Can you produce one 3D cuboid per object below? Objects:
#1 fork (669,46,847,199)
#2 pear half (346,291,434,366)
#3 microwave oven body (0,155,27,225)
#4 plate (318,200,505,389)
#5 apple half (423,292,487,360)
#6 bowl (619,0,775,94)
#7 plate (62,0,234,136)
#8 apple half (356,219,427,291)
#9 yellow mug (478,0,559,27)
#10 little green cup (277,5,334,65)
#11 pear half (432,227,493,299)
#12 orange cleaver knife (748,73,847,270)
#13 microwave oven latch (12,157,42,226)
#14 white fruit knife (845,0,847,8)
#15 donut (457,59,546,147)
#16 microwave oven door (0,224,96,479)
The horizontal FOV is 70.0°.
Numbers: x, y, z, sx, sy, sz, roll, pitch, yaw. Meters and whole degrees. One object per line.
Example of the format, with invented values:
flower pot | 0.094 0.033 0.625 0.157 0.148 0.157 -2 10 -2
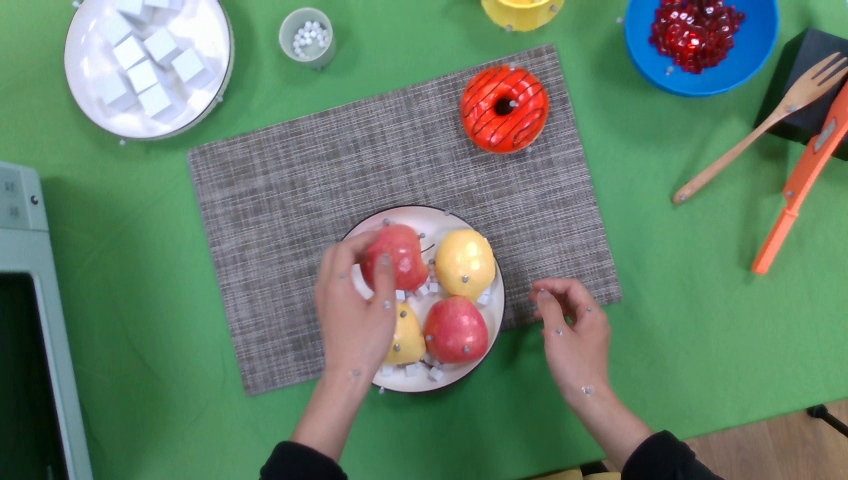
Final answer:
fork | 0.339 -0.115 0.630 0.028 0.018 0.207 43 113 -3
pear half | -0.032 0.106 0.668 0.110 0.056 0.076 35 97 2
microwave oven body | -0.592 0.145 0.623 0.326 0.260 0.441 -12 88 5
plate | -0.013 0.060 0.681 0.209 0.038 0.209 0 88 5
apple half | 0.026 0.096 0.659 0.081 0.033 0.081 4 98 28
bowl | 0.277 -0.222 0.643 0.151 0.077 0.151 0 89 6
plate | -0.322 -0.224 0.721 0.207 0.039 0.207 0 88 6
apple half | -0.038 0.018 0.667 0.074 0.053 0.081 -10 92 6
yellow mug | 0.090 -0.294 0.669 0.131 0.064 0.100 -4 88 6
little green cup | -0.135 -0.235 0.703 0.061 0.039 0.061 0 88 6
pear half | 0.038 0.029 0.663 0.070 0.031 0.088 8 92 26
orange cleaver knife | 0.389 -0.068 0.626 0.012 0.077 0.212 22 116 11
microwave oven latch | -0.476 -0.056 0.713 0.030 0.029 0.079 -10 88 5
white fruit knife | 0.443 -0.195 0.608 0.027 0.016 0.207 -12 85 -24
donut | 0.085 -0.152 0.673 0.099 0.048 0.099 0 90 8
microwave oven door | -0.442 0.156 0.603 0.039 0.244 0.355 -13 87 5
